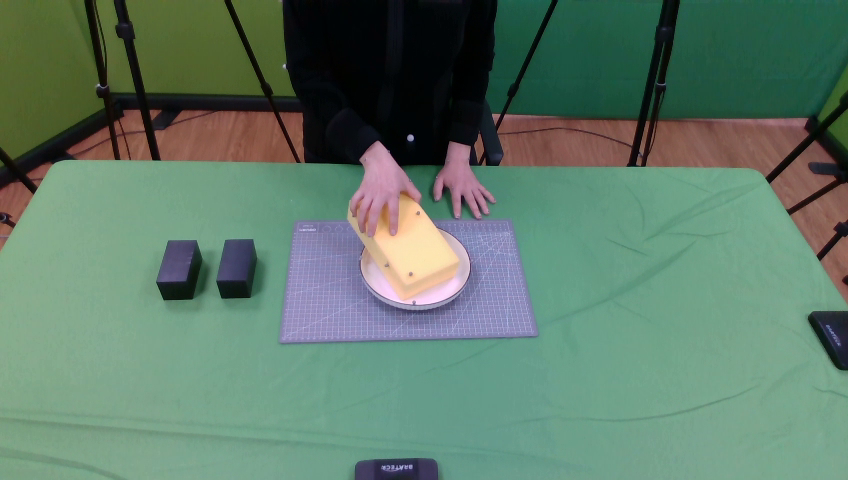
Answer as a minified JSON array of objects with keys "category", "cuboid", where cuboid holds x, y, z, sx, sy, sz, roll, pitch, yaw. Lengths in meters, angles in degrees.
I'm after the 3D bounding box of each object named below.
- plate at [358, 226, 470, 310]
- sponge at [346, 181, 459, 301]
[{"category":"plate","cuboid":[-0.019,0.052,1.132,0.209,0.038,0.208,2,46,-2]},{"category":"sponge","cuboid":[-0.043,-0.002,1.129,0.118,0.061,0.206,-25,64,-25]}]
